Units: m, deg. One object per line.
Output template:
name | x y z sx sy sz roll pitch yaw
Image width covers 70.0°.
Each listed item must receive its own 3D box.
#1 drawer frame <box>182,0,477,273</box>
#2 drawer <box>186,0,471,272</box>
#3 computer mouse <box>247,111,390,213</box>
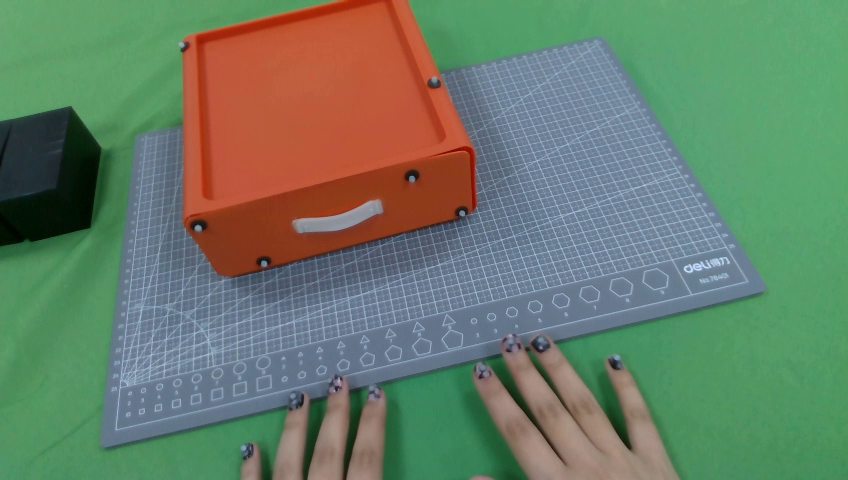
drawer frame | -0.084 -0.097 0.488 0.202 0.083 0.211 -16 53 -4
drawer | -0.083 -0.094 0.487 0.194 0.074 0.209 -15 53 -3
computer mouse | -0.086 -0.064 0.481 0.117 0.041 0.062 -17 57 2
